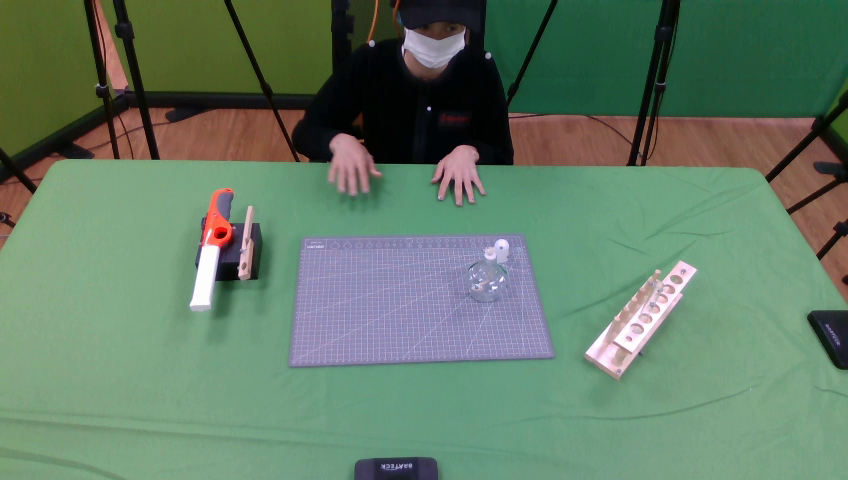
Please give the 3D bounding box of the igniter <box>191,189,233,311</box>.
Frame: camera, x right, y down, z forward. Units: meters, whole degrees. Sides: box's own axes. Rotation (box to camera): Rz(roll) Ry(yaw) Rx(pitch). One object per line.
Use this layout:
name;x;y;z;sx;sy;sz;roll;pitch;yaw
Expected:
igniter;-0.381;0.008;1.092;0.057;0.025;0.274;-1;49;-6

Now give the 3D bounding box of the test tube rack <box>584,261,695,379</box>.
test tube rack;0.380;0.127;1.062;0.066;0.085;0.242;34;53;26

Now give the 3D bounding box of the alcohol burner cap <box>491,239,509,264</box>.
alcohol burner cap;0.150;0.020;1.174;0.034;0.048;0.033;2;46;-2

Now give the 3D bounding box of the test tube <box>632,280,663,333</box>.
test tube;0.363;0.121;0.997;0.017;0.151;0.017;2;44;-1

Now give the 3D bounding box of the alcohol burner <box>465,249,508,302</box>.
alcohol burner;0.114;0.057;1.085;0.078;0.120;0.077;2;48;-2

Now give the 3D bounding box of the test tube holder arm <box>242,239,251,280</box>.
test tube holder arm;-0.314;0.034;1.076;0.010;0.015;0.087;-6;47;-6

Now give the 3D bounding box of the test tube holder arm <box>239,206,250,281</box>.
test tube holder arm;-0.327;0.002;1.106;0.013;0.015;0.177;-7;47;-7
